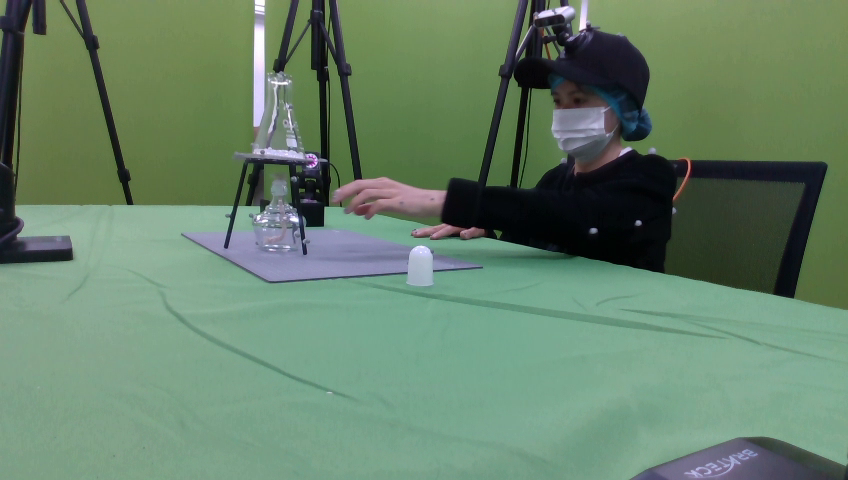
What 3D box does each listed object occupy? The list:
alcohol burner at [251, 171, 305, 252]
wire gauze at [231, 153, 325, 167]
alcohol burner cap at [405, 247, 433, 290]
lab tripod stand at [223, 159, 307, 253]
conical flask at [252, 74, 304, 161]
[{"bbox_3d":[-0.214,-0.042,0.888,0.078,0.119,0.078,2,9,0],"label":"alcohol burner"},{"bbox_3d":[-0.215,-0.117,0.882,0.125,0.011,0.121,3,7,-19],"label":"wire gauze"},{"bbox_3d":[-0.005,0.031,0.698,0.034,0.048,0.034,3,8,0],"label":"alcohol burner cap"},{"bbox_3d":[-0.220,-0.053,0.896,0.148,0.131,0.148,1,6,0],"label":"lab tripod stand"},{"bbox_3d":[-0.211,-0.177,0.879,0.075,0.122,0.075,3,6,0],"label":"conical flask"}]
